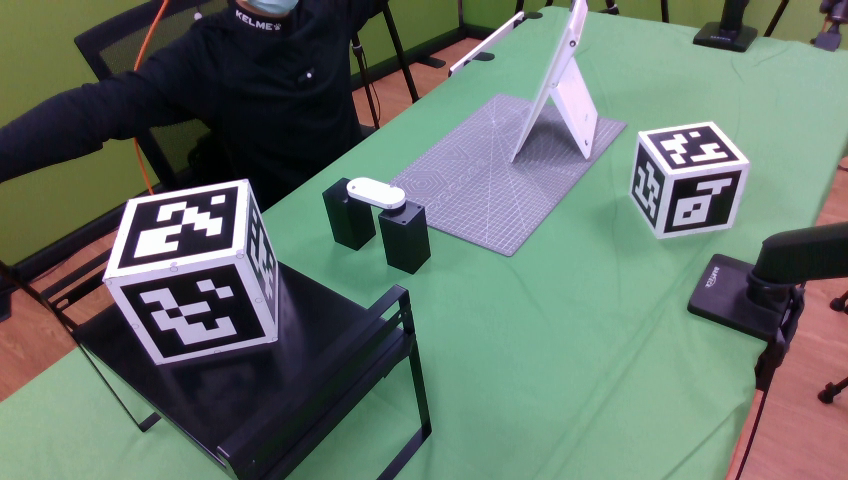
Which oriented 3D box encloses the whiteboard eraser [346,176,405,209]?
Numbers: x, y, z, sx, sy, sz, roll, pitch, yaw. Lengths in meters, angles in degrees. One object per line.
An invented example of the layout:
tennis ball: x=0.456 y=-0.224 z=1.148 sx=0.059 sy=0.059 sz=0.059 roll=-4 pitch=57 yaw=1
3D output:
whiteboard eraser: x=-0.073 y=-0.072 z=0.909 sx=0.100 sy=0.019 sz=0.041 roll=20 pitch=49 yaw=29

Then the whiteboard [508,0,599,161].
whiteboard: x=0.285 y=-0.289 z=1.088 sx=0.144 sy=0.305 sz=0.217 roll=22 pitch=45 yaw=3
